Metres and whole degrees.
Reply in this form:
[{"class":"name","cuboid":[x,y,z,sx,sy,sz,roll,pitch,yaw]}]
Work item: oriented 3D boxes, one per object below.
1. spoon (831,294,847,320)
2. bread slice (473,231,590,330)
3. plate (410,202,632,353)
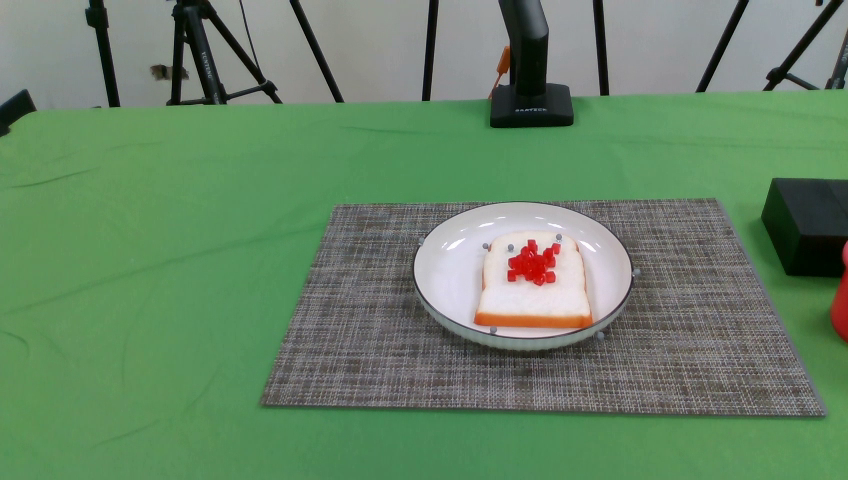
[{"class":"spoon","cuboid":[0.426,0.028,0.473,0.022,0.194,0.041,49,45,-7]},{"class":"bread slice","cuboid":[0.103,0.036,0.589,0.105,0.019,0.130,2,38,8]},{"class":"plate","cuboid":[0.091,0.034,0.589,0.209,0.038,0.207,-3,37,3]}]
